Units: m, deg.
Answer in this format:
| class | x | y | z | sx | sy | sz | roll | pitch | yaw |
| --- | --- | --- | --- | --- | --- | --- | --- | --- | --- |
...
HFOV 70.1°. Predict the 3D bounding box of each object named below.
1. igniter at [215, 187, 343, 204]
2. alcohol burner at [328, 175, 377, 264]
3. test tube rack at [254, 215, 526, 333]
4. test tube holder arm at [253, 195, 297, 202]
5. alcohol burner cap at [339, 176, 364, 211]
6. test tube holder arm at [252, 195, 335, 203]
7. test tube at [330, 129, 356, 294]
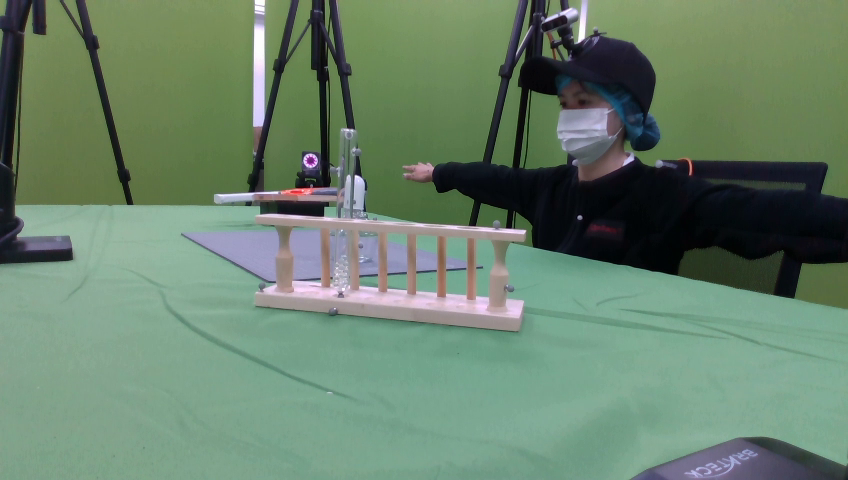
| class | x | y | z | sx | sy | sz | roll | pitch | yaw |
| --- | --- | --- | --- | --- | --- | --- | --- | --- | --- |
| igniter | -0.290 | -0.093 | 1.256 | 0.278 | 0.025 | 0.057 | -6 | 11 | -34 |
| alcohol burner | -0.098 | -0.028 | 0.819 | 0.078 | 0.119 | 0.078 | 1 | 8 | 0 |
| test tube rack | -0.030 | 0.025 | 0.557 | 0.242 | 0.085 | 0.067 | 4 | 7 | 12 |
| test tube holder arm | -0.294 | -0.082 | 1.194 | 0.088 | 0.015 | 0.010 | -4 | 7 | -38 |
| alcohol burner cap | -0.096 | -0.063 | 0.814 | 0.034 | 0.048 | 0.034 | 7 | 6 | 0 |
| test tube holder arm | -0.262 | -0.084 | 1.227 | 0.179 | 0.015 | 0.013 | -4 | 7 | -39 |
| test tube | -0.074 | -0.025 | 0.548 | 0.017 | 0.150 | 0.017 | 4 | 6 | 0 |
